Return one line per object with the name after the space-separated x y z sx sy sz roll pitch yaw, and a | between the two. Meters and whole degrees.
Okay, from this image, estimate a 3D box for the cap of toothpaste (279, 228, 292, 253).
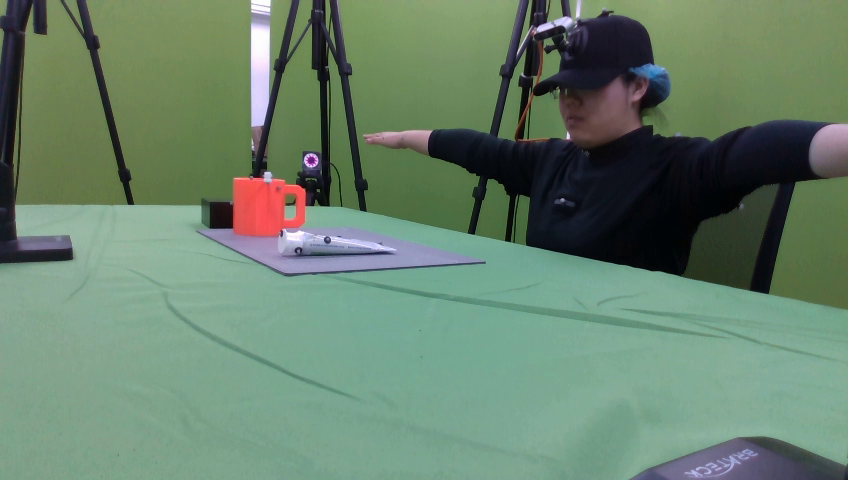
-0.189 0.001 0.826 0.011 0.037 0.037 6 4 -30 | cap of toothpaste

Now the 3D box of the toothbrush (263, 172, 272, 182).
-0.273 -0.112 1.055 0.014 0.016 0.181 -7 9 -13 | toothbrush

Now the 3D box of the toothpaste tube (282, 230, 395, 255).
-0.123 0.006 0.867 0.166 0.034 0.055 4 10 -34 | toothpaste tube

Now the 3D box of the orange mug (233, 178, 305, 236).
-0.273 -0.061 1.067 0.127 0.101 0.083 -5 10 -24 | orange mug
